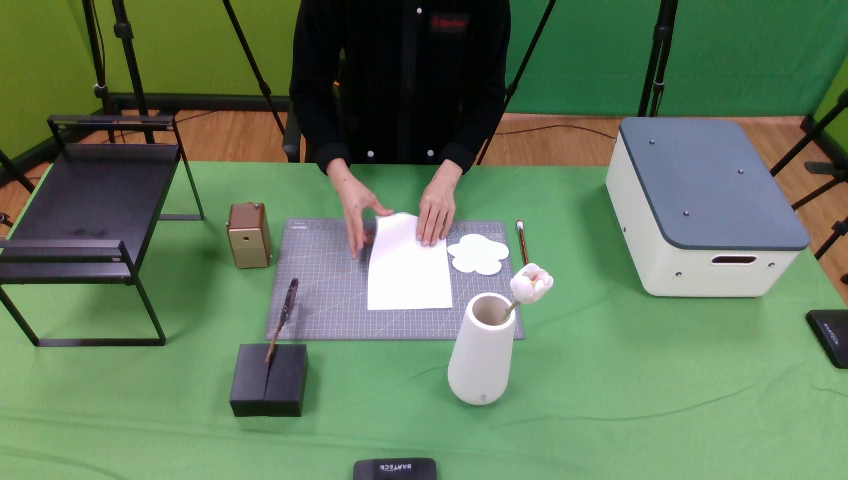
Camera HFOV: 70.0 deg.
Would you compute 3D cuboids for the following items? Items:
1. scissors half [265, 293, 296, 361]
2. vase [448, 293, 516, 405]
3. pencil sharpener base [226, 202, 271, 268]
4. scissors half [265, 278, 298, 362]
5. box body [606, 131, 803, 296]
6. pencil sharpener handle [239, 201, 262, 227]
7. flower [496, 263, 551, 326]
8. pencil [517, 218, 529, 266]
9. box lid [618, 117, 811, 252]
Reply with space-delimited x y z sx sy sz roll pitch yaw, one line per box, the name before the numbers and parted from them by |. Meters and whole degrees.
scissors half | -0.239 0.143 1.004 0.013 0.040 0.174 17 28 -6
vase | 0.091 0.169 0.921 0.098 0.201 0.097 3 47 -3
pencil sharpener base | -0.323 -0.010 1.123 0.061 0.107 0.076 -3 46 -6
scissors half | -0.234 0.127 0.993 0.013 0.040 0.174 12 46 -3
box body | 0.530 -0.067 1.204 0.254 0.161 0.361 0 46 -4
pencil sharpener handle | -0.325 -0.055 1.150 0.036 0.068 0.030 -13 46 3
flower | 0.102 0.120 0.853 0.044 0.363 0.038 -1 64 -10
pencil | 0.200 0.028 1.196 0.012 0.012 0.193 1 48 -3
box lid | 0.534 -0.117 1.149 0.263 0.015 0.369 0 47 -3
